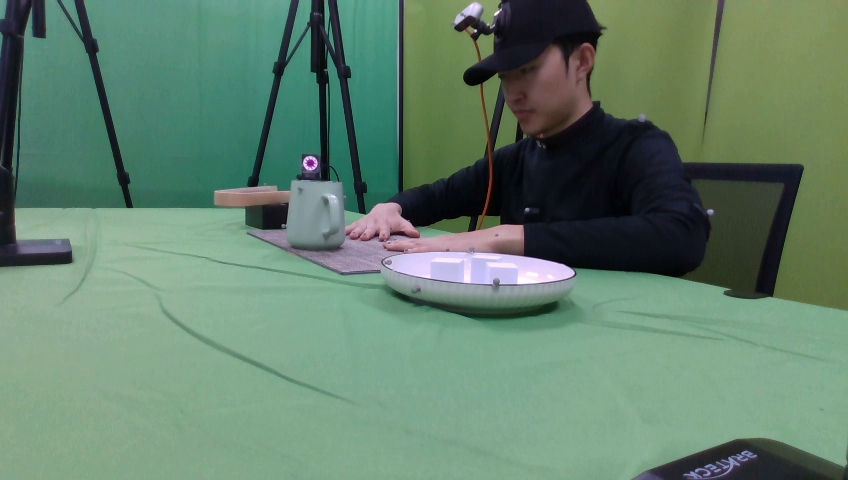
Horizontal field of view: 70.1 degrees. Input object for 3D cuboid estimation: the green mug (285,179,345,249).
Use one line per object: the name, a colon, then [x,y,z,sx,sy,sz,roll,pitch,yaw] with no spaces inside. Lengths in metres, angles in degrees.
green mug: [-0.161,-0.040,0.936,0.093,0.105,0.124,-2,8,-32]

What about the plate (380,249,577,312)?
plate: [0.056,0.042,0.646,0.209,0.038,0.209,2,7,0]

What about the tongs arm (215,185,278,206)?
tongs arm: [-0.362,-0.099,1.297,0.051,0.026,0.385,7,7,6]

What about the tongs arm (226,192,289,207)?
tongs arm: [-0.286,-0.091,1.283,0.028,0.028,0.389,12,9,18]
